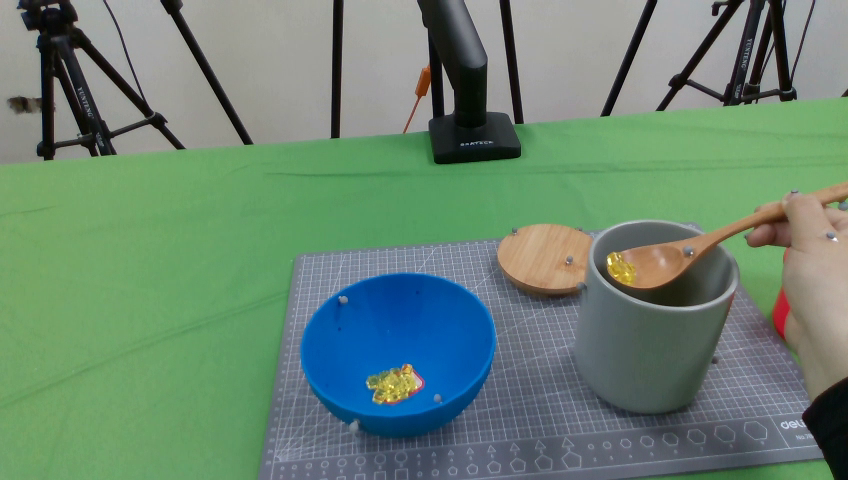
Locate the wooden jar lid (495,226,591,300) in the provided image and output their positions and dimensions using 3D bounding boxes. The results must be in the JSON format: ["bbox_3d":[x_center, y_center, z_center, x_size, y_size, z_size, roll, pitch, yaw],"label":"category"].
[{"bbox_3d":[0.128,0.024,0.628,0.108,0.021,0.107,-2,36,2],"label":"wooden jar lid"}]

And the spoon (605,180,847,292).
[{"bbox_3d":[0.224,-0.006,0.430,0.193,0.022,0.041,-24,39,11],"label":"spoon"}]

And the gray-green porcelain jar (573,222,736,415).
[{"bbox_3d":[0.175,0.066,0.480,0.106,0.127,0.105,-2,38,2],"label":"gray-green porcelain jar"}]

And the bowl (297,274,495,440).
[{"bbox_3d":[-0.019,0.105,0.485,0.151,0.077,0.150,-2,38,2],"label":"bowl"}]
